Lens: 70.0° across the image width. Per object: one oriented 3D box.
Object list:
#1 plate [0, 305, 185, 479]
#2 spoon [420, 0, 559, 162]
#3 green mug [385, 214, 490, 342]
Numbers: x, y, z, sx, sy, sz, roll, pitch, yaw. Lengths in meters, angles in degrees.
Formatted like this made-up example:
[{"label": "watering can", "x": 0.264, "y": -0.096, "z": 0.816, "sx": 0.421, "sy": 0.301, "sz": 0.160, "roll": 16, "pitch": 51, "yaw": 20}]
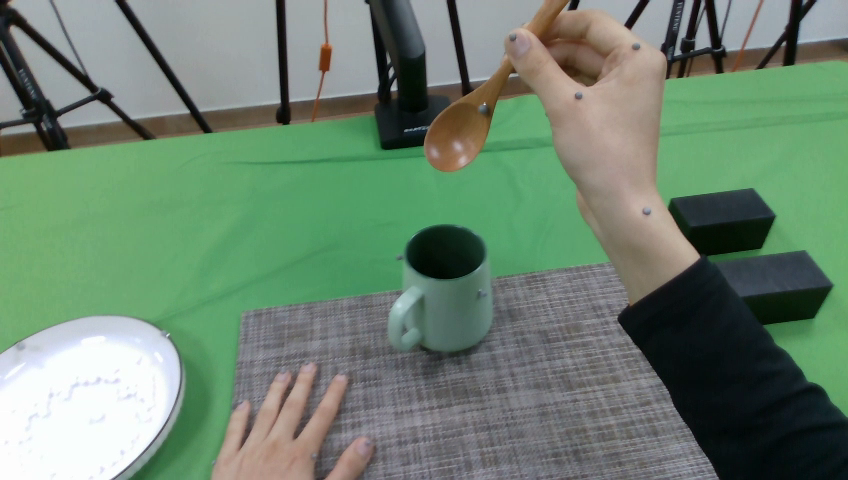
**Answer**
[{"label": "plate", "x": -0.321, "y": 0.149, "z": 0.551, "sx": 0.209, "sy": 0.038, "sz": 0.207, "roll": -1, "pitch": 44, "yaw": 2}, {"label": "spoon", "x": 0.059, "y": -0.128, "z": 0.398, "sx": 0.041, "sy": 0.194, "sz": 0.021, "roll": 44, "pitch": 33, "yaw": 5}, {"label": "green mug", "x": 0.009, "y": 0.048, "z": 0.584, "sx": 0.092, "sy": 0.106, "sz": 0.125, "roll": 29, "pitch": 52, "yaw": 28}]
